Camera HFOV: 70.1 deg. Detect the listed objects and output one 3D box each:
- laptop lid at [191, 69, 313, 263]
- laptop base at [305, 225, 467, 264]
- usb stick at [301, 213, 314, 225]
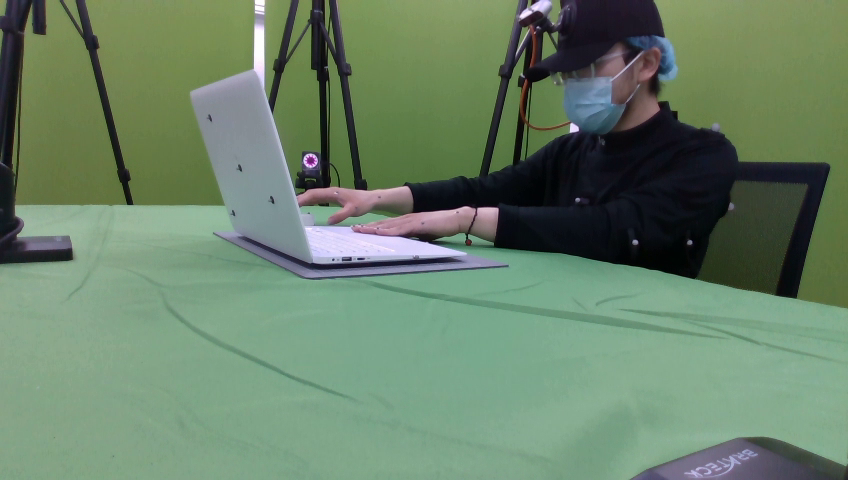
[{"bbox_3d":[-0.251,-0.102,0.839,0.013,0.242,0.355,-22,20,-28],"label":"laptop lid"},{"bbox_3d":[-0.126,0.005,0.937,0.237,0.023,0.352,2,6,-33],"label":"laptop base"},{"bbox_3d":[-0.255,-0.042,1.232,0.059,0.027,0.021,-7,15,-42],"label":"usb stick"}]
